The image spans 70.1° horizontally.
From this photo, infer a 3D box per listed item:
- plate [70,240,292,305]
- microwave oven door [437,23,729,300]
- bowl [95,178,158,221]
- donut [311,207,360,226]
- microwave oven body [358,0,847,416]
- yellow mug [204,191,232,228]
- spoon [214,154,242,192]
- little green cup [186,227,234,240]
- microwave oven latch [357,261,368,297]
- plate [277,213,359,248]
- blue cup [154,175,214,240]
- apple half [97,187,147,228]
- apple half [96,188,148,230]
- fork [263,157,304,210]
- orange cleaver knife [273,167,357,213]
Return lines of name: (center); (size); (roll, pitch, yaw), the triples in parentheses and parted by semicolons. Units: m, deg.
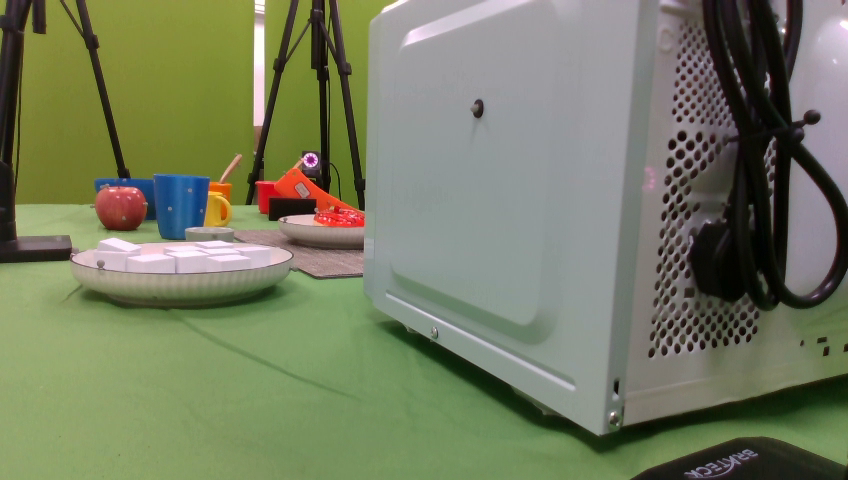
plate: (-0.242, 0.031, 0.618); (0.208, 0.039, 0.207); (2, 8, 0)
microwave oven door: (0.181, -0.072, 0.621); (0.358, 0.243, 0.039); (-2, 9, -29)
bowl: (-0.576, -0.081, 1.217); (0.151, 0.077, 0.151); (3, 8, 0)
donut: (-0.137, -0.029, 0.995); (0.099, 0.048, 0.099); (4, 9, 0)
microwave oven body: (0.211, -0.047, 0.474); (0.444, 0.260, 0.324); (-1, 7, -28)
yellow mug: (-0.415, -0.057, 1.131); (0.130, 0.064, 0.100); (6, 7, 16)
spoon: (-0.439, -0.124, 1.318); (0.041, 0.193, 0.022); (5, -36, 16)
little green cup: (-0.284, 0.005, 0.805); (0.061, 0.038, 0.061); (2, 8, 0)
microwave oven latch: (-0.019, 0.033, 0.530); (0.079, 0.029, 0.030); (-1, 7, -26)
plate: (-0.135, -0.017, 0.992); (0.209, 0.038, 0.209); (2, 8, 0)
blue cup: (-0.390, -0.053, 0.978); (0.093, 0.100, 0.092); (3, 6, 0)
apple half: (-0.534, -0.059, 1.071); (0.082, 0.081, 0.032); (-1, 11, -25)
apple half: (-0.517, -0.052, 1.036); (0.081, 0.074, 0.053); (2, 10, -26)
fork: (-0.345, -0.143, 1.506); (0.028, 0.019, 0.207); (-4, 46, 29)
orange cleaver knife: (-0.238, -0.091, 1.381); (0.212, 0.077, 0.012); (31, 0, -19)
